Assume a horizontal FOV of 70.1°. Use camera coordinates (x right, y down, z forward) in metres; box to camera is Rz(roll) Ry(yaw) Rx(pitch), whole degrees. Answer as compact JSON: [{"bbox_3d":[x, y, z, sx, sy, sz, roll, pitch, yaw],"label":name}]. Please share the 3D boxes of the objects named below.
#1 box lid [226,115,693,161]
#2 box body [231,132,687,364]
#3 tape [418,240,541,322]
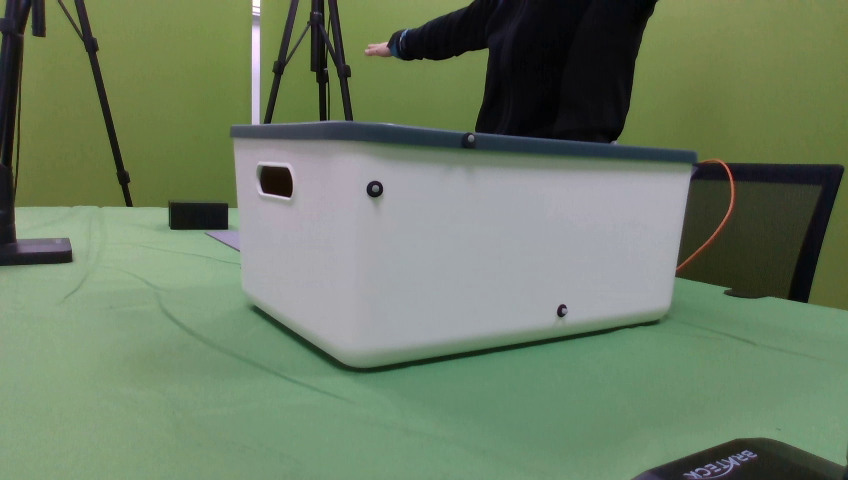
[{"bbox_3d":[0.031,-0.086,0.554,0.373,0.015,0.262,-2,8,-33],"label":"box lid"},{"bbox_3d":[0.031,-0.013,0.563,0.366,0.160,0.253,-3,8,-33],"label":"box body"},{"bbox_3d":[0.052,0.035,0.571,0.117,0.052,0.117,1,10,0],"label":"tape"}]
